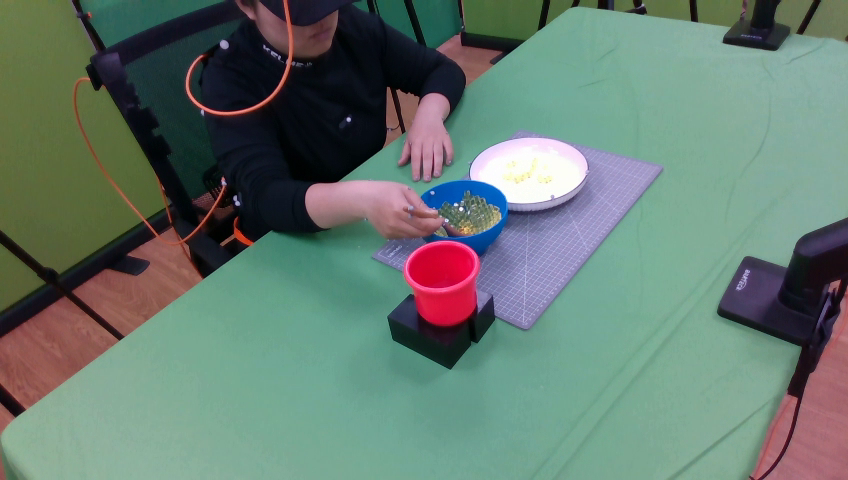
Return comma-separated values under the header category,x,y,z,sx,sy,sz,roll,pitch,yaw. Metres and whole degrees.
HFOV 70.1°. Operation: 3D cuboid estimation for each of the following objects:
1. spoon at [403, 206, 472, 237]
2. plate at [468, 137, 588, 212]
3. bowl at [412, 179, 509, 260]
category,x,y,z,sx,sy,sz,roll,pitch,yaw
spoon,0.023,-0.024,0.881,0.041,0.195,0.021,12,82,34
plate,0.182,-0.112,1.064,0.207,0.039,0.206,-5,40,5
bowl,0.060,-0.022,0.949,0.151,0.077,0.150,-5,40,5
